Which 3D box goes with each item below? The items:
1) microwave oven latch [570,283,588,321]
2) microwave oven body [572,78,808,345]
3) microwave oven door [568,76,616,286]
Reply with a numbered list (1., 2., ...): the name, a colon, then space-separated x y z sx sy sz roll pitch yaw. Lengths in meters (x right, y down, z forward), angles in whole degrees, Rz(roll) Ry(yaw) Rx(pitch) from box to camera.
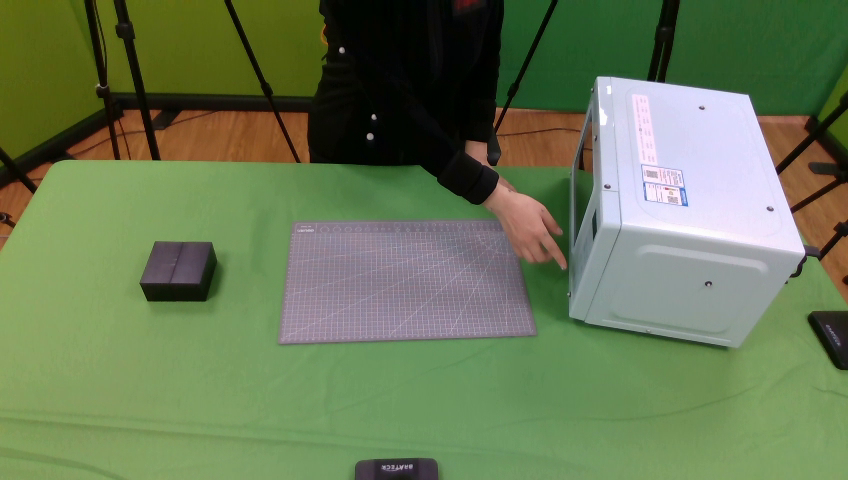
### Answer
1. microwave oven latch: 0.276 0.105 1.082 0.030 0.029 0.079 10 45 7
2. microwave oven body: 0.456 -0.063 1.124 0.326 0.261 0.439 8 45 5
3. microwave oven door: 0.319 -0.119 1.161 0.039 0.245 0.354 9 46 5
